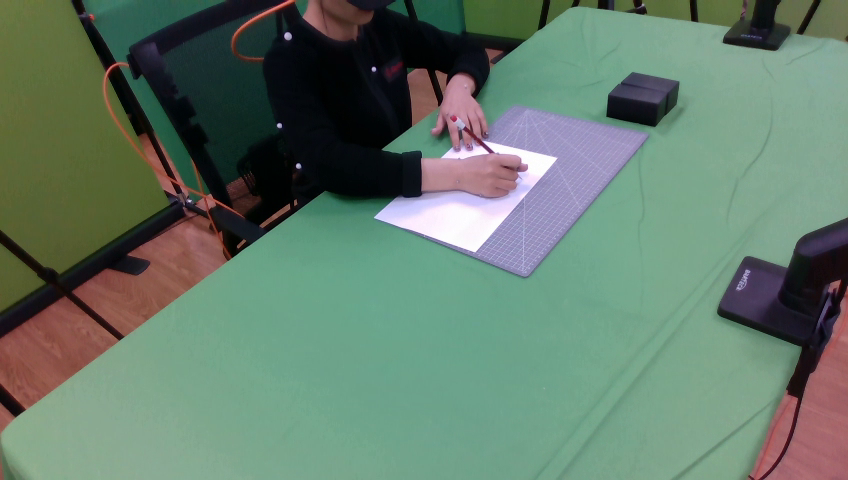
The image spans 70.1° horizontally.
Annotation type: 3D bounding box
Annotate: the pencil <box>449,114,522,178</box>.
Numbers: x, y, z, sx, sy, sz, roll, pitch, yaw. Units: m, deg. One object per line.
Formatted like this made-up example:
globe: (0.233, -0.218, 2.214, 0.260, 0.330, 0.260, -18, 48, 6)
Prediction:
pencil: (0.110, -0.157, 1.033, 0.012, 0.196, 0.012, -30, 43, 32)
